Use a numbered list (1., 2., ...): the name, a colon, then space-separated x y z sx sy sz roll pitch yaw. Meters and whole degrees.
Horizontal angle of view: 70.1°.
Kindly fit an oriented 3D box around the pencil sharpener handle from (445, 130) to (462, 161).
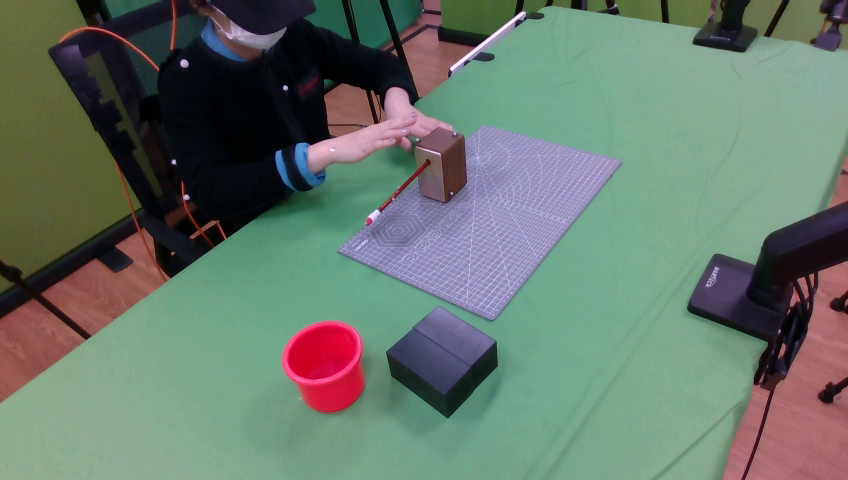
1. pencil sharpener handle: 0.057 -0.172 1.071 0.036 0.068 0.031 32 53 18

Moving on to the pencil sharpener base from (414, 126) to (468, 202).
1. pencil sharpener base: 0.032 -0.132 1.048 0.061 0.107 0.077 21 48 30

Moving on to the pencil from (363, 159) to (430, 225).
1. pencil: -0.033 -0.088 0.978 0.012 0.012 0.194 24 57 32
